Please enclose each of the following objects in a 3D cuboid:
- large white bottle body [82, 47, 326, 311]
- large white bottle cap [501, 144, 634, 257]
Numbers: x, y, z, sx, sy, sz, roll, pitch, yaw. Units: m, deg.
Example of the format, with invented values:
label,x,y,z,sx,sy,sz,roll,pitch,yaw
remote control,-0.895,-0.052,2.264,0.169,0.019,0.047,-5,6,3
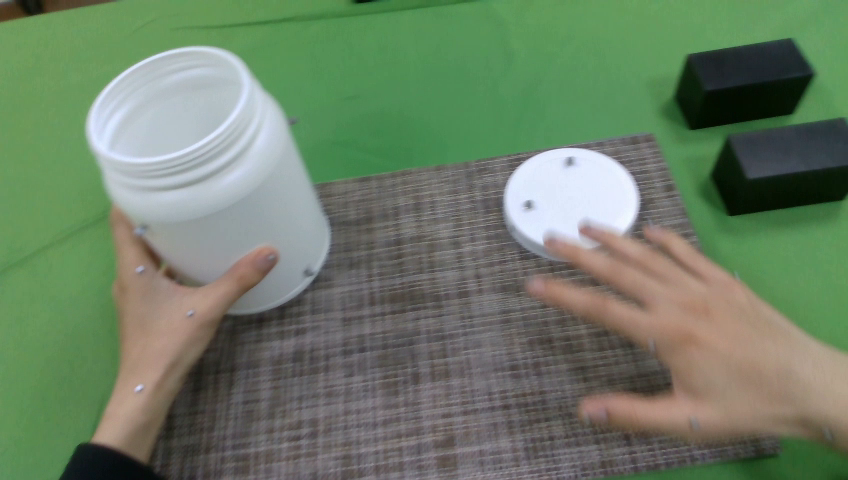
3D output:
label,x,y,z,sx,sy,sz,roll,pitch,yaw
large white bottle body,-0.160,-0.041,0.470,0.130,0.186,0.129,-3,56,6
large white bottle cap,0.125,-0.037,0.533,0.115,0.018,0.113,-3,57,4
